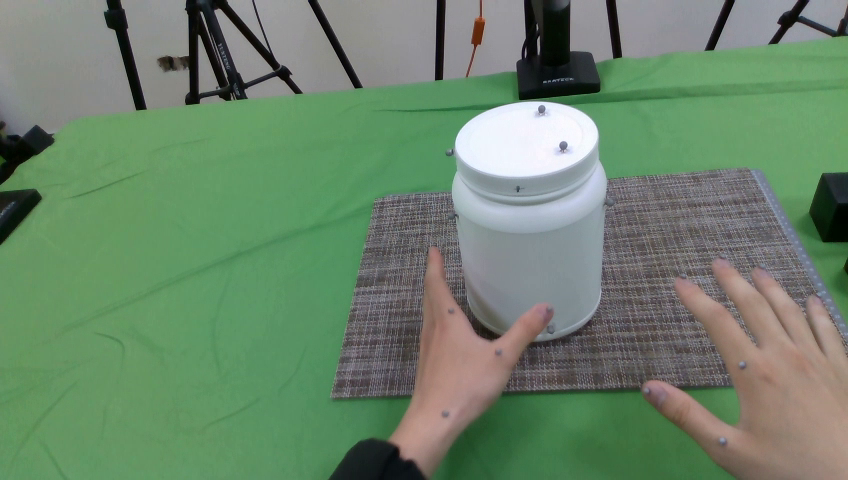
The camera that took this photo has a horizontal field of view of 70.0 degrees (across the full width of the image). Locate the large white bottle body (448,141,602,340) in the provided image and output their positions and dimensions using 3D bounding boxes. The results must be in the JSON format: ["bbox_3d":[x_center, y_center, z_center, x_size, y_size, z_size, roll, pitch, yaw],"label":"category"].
[{"bbox_3d":[0.092,-0.014,0.546,0.130,0.186,0.129,-7,40,6],"label":"large white bottle body"}]

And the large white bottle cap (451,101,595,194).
[{"bbox_3d":[0.079,-0.077,0.490,0.115,0.018,0.113,-6,40,6],"label":"large white bottle cap"}]
